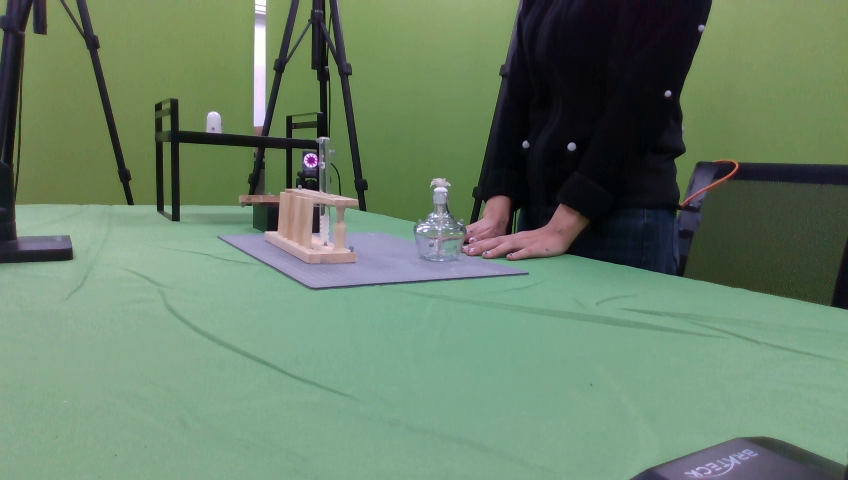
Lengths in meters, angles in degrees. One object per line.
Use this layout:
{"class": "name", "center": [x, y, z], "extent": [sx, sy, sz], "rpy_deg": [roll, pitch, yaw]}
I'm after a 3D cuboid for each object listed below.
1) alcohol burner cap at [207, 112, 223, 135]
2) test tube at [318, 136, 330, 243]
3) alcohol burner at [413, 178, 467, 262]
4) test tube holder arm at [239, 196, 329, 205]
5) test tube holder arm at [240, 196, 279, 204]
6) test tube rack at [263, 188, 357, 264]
{"class": "alcohol burner cap", "center": [-0.440, -0.245, 1.271], "extent": [0.034, 0.048, 0.034], "rpy_deg": [2, 7, 0]}
{"class": "test tube", "center": [-0.142, -0.070, 0.852], "extent": [0.017, 0.150, 0.017], "rpy_deg": [1, 7, 0]}
{"class": "alcohol burner", "center": [0.022, -0.029, 0.864], "extent": [0.078, 0.119, 0.078], "rpy_deg": [1, 7, 0]}
{"class": "test tube holder arm", "center": [-0.263, -0.076, 1.155], "extent": [0.179, 0.015, 0.013], "rpy_deg": [-1, 4, -36]}
{"class": "test tube holder arm", "center": [-0.296, -0.075, 1.124], "extent": [0.088, 0.015, 0.010], "rpy_deg": [-1, 4, -35]}
{"class": "test tube rack", "center": [-0.175, -0.027, 0.890], "extent": [0.067, 0.085, 0.241], "rpy_deg": [0, 8, -28]}
